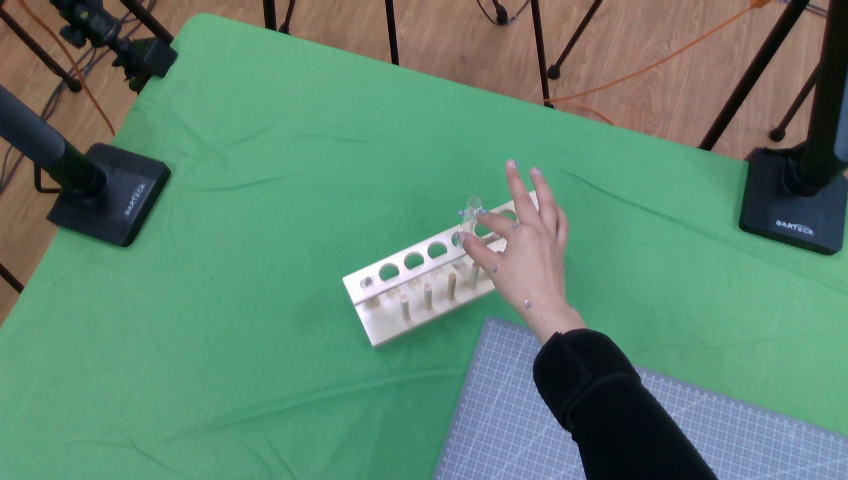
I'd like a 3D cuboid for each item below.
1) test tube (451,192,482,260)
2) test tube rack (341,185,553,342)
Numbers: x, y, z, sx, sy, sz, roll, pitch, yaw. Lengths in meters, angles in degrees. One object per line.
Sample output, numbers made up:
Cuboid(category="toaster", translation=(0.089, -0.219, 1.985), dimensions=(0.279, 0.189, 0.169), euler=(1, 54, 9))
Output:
Cuboid(category="test tube", translation=(0.043, -0.011, 0.660), dimensions=(0.017, 0.151, 0.017), euler=(2, 66, -4))
Cuboid(category="test tube rack", translation=(0.033, 0.029, 0.698), dimensions=(0.242, 0.086, 0.066), euler=(-24, 70, -8))
